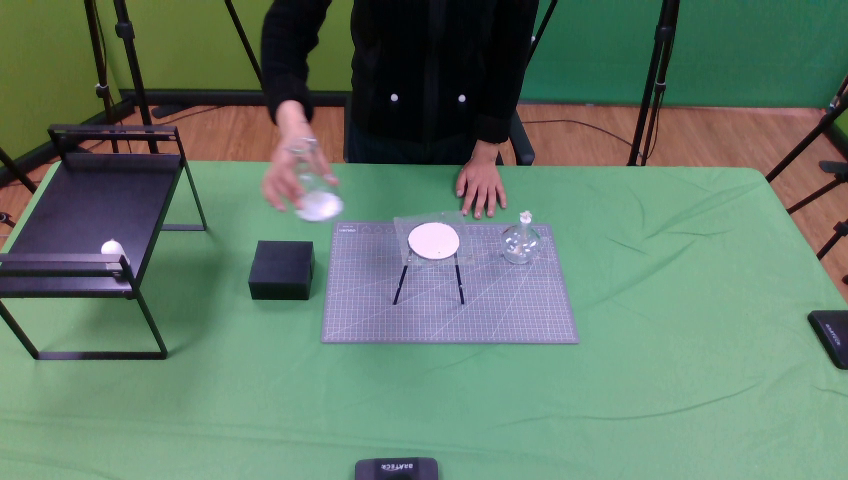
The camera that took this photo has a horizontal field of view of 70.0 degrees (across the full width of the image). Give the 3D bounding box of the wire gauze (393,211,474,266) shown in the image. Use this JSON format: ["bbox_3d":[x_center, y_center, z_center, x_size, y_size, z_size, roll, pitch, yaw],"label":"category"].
[{"bbox_3d":[0.015,-0.003,1.028,0.125,0.011,0.120,-4,47,-7],"label":"wire gauze"}]

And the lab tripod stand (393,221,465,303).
[{"bbox_3d":[0.010,0.045,1.075,0.148,0.132,0.147,2,48,-2],"label":"lab tripod stand"}]

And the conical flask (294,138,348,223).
[{"bbox_3d":[-0.160,-0.090,0.896,0.075,0.122,0.075,-4,42,4],"label":"conical flask"}]

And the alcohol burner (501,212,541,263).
[{"bbox_3d":[0.187,-0.011,1.156,0.078,0.120,0.077,2,48,-2],"label":"alcohol burner"}]

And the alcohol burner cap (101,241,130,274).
[{"bbox_3d":[-0.449,0.022,0.878,0.034,0.048,0.033,3,45,-2],"label":"alcohol burner cap"}]
